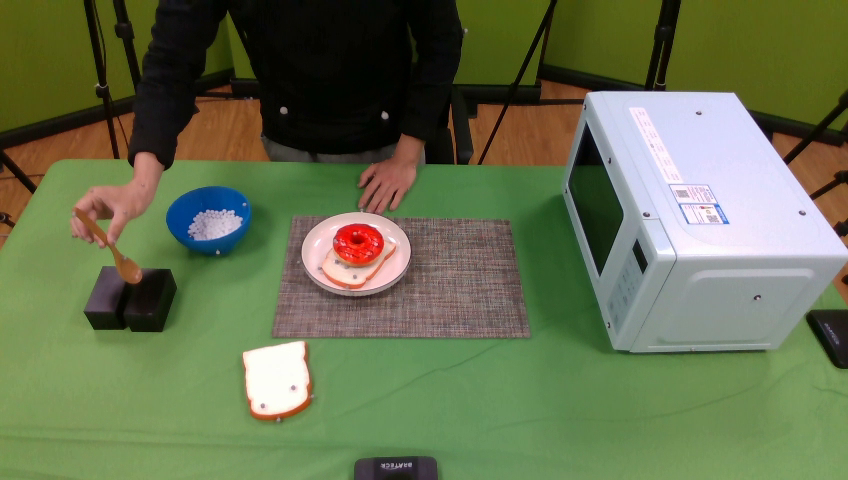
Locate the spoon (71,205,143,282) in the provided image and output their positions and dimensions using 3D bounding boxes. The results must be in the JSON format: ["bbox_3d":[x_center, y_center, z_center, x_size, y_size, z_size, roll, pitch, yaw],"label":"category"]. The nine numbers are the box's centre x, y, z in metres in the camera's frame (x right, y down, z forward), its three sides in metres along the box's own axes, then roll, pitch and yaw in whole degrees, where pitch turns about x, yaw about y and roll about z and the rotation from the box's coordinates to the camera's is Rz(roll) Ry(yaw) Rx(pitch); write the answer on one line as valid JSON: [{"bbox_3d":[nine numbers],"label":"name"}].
[{"bbox_3d":[-0.492,0.006,0.948,0.021,0.195,0.041,-3,54,2],"label":"spoon"}]

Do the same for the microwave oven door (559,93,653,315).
[{"bbox_3d":[0.327,-0.074,1.123,0.039,0.245,0.353,-1,46,-5],"label":"microwave oven door"}]

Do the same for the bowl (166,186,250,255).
[{"bbox_3d":[-0.403,-0.024,1.154,0.151,0.077,0.150,2,46,-2],"label":"bowl"}]

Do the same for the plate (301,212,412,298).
[{"bbox_3d":[-0.126,0.031,1.145,0.208,0.039,0.206,2,46,-2],"label":"plate"}]

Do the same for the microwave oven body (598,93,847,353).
[{"bbox_3d":[0.475,-0.041,1.109,0.326,0.261,0.438,-1,45,-4],"label":"microwave oven body"}]

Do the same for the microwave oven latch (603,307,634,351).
[{"bbox_3d":[0.332,0.153,1.044,0.030,0.029,0.078,0,45,-4],"label":"microwave oven latch"}]

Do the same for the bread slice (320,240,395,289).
[{"bbox_3d":[-0.129,0.037,1.141,0.107,0.018,0.134,19,47,14],"label":"bread slice"}]

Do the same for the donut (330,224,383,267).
[{"bbox_3d":[-0.125,0.010,1.127,0.099,0.048,0.098,3,45,-3],"label":"donut"}]

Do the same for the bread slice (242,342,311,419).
[{"bbox_3d":[-0.234,0.223,0.970,0.105,0.019,0.130,-10,46,-13],"label":"bread slice"}]
